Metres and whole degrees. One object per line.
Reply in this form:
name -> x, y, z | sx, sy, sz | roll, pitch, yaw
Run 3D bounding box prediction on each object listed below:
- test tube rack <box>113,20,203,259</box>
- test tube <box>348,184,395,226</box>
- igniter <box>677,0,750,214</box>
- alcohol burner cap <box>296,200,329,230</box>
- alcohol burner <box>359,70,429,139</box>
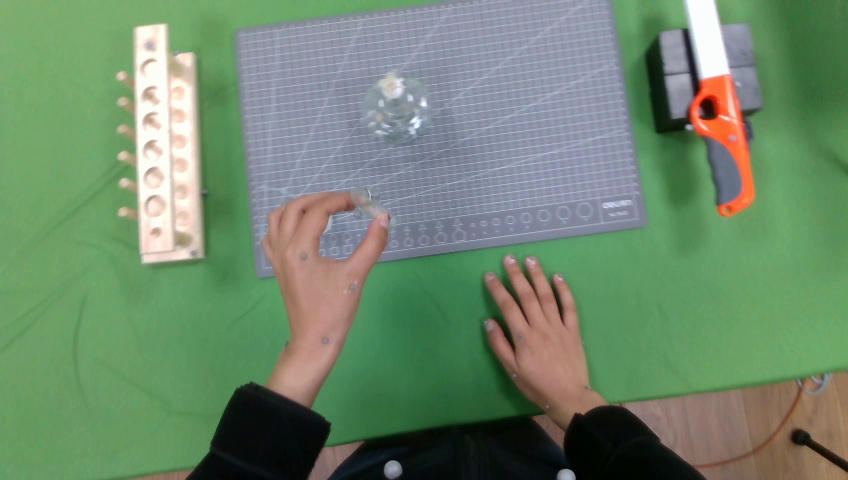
test tube rack -> -0.299, -0.105, 0.668 | 0.067, 0.085, 0.241 | -5, 84, 0
test tube -> -0.042, -0.028, 0.523 | 0.017, 0.150, 0.017 | 0, 85, 5
igniter -> 0.306, -0.165, 0.649 | 0.057, 0.025, 0.275 | -9, 83, 12
alcohol burner cap -> -0.127, -0.030, 0.677 | 0.034, 0.048, 0.034 | 0, 84, 1
alcohol burner -> -0.034, -0.151, 0.653 | 0.078, 0.119, 0.077 | 0, 85, 2
